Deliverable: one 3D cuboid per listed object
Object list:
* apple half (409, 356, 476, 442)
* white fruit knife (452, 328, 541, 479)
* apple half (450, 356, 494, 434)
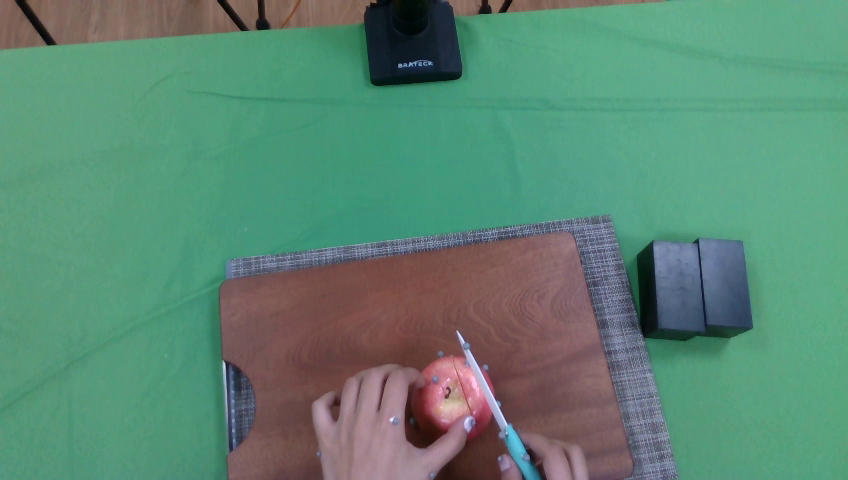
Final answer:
[{"bbox_3d":[0.013,0.159,0.590,0.053,0.075,0.080,-20,75,-3],"label":"apple half"},{"bbox_3d":[0.072,0.171,0.536,0.016,0.027,0.207,-27,88,-19],"label":"white fruit knife"},{"bbox_3d":[0.050,0.148,0.594,0.033,0.082,0.080,-20,72,-5],"label":"apple half"}]
